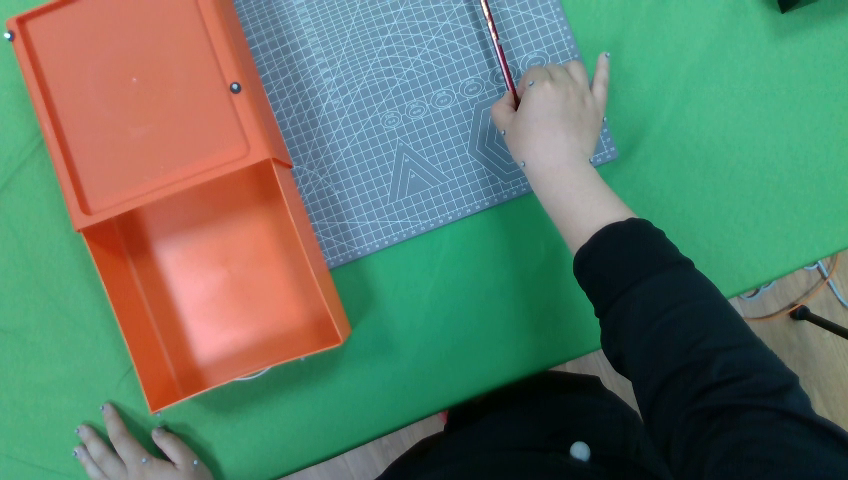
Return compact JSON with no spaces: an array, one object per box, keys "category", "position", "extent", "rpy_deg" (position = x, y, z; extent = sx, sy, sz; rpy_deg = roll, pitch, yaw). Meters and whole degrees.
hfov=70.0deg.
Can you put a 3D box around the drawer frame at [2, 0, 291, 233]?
[{"category":"drawer frame","position":[-0.263,-0.136,0.588],"extent":[0.201,0.083,0.213],"rpy_deg":[-21,88,4]}]

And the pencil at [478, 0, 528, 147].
[{"category":"pencil","position":[0.073,-0.184,0.594],"extent":[0.012,0.012,0.194],"rpy_deg":[-18,91,3]}]

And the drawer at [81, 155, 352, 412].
[{"category":"drawer","position":[-0.200,0.032,0.591],"extent":[0.194,0.073,0.211],"rpy_deg":[-20,91,3]}]
